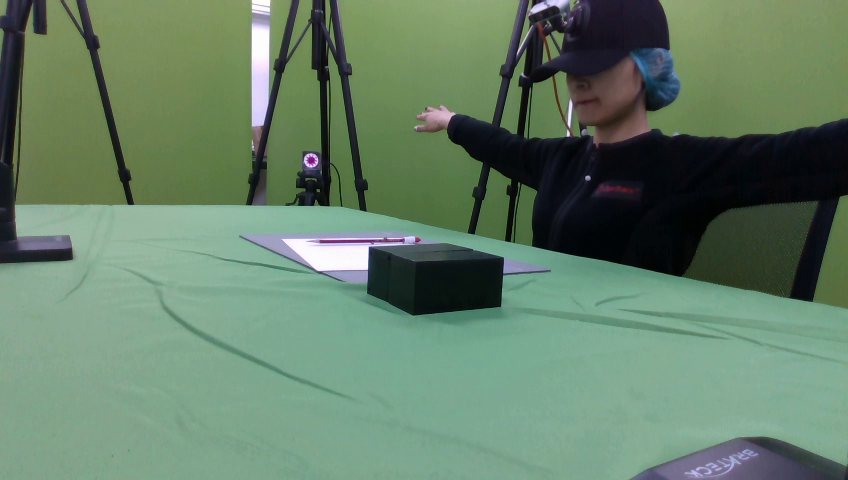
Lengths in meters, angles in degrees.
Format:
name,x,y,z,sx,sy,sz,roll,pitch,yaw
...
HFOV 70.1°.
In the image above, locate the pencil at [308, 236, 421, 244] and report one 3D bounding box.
name,x,y,z,sx,sy,sz,roll,pitch,yaw
pencil,-0.093,0.000,0.982,0.195,0.012,0.012,-1,8,-27
